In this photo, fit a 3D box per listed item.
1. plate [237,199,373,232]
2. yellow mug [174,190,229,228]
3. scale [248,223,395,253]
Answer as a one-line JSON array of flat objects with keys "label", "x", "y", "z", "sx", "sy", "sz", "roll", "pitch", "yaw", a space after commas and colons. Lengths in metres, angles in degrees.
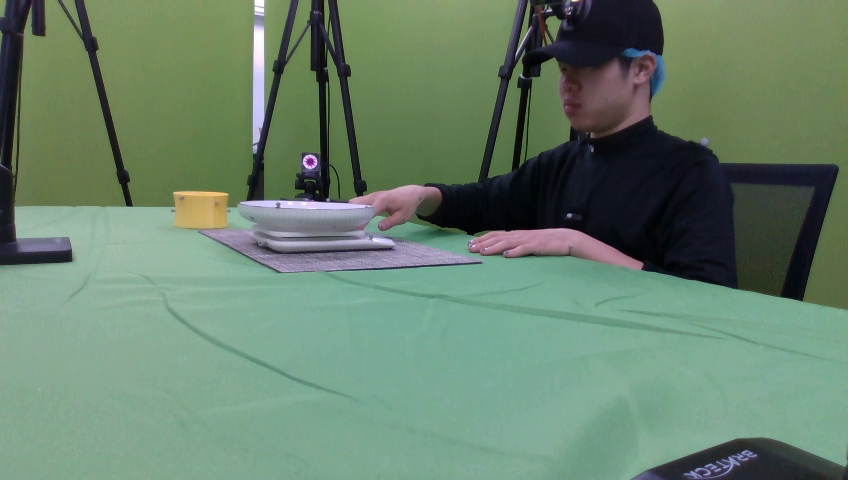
[{"label": "plate", "x": -0.183, "y": -0.039, "z": 0.941, "sx": 0.209, "sy": 0.038, "sz": 0.209, "roll": 3, "pitch": 7, "yaw": 0}, {"label": "yellow mug", "x": -0.427, "y": -0.063, "z": 1.189, "sx": 0.100, "sy": 0.064, "sz": 0.131, "roll": 5, "pitch": 7, "yaw": 13}, {"label": "scale", "x": -0.162, "y": -0.006, "z": 0.954, "sx": 0.202, "sy": 0.031, "sz": 0.148, "roll": -1, "pitch": 8, "yaw": -32}]
